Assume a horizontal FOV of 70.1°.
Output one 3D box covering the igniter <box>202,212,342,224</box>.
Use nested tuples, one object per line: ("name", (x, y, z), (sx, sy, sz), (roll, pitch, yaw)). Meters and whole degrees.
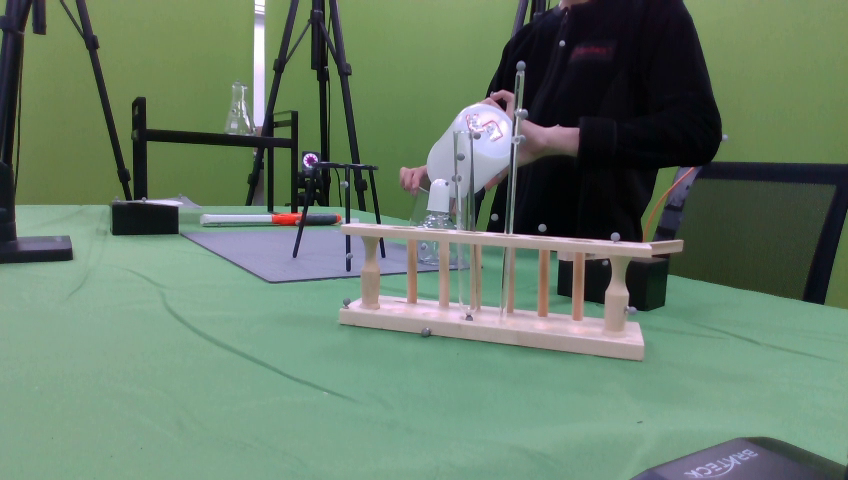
("igniter", (-0.298, -0.044, 1.216), (0.278, 0.025, 0.057), (-2, -2, -32))

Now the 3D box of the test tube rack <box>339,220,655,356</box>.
("test tube rack", (0.056, 0.032, 0.495), (0.242, 0.085, 0.067), (4, 7, 15))

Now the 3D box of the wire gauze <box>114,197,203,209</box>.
("wire gauze", (-0.447, -0.062, 1.015), (0.126, 0.011, 0.121), (-2, 8, -31))

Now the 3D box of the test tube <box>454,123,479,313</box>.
("test tube", (0.034, -0.016, 0.477), (0.017, 0.150, 0.017), (-2, 9, 1))

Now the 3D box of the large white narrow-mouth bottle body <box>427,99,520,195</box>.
("large white narrow-mouth bottle body", (0.061, -0.125, 0.923), (0.102, 0.101, 0.194), (-1, -18, -22))

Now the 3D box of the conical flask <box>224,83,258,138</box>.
("conical flask", (-0.422, -0.299, 1.395), (0.075, 0.122, 0.075), (2, 7, 0))

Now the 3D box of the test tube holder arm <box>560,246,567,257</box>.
("test tube holder arm", (0.173, 0.007, 0.611), (0.088, 0.015, 0.010), (-3, 9, -30))

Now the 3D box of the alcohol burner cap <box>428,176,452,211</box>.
("alcohol burner cap", (0.023, -0.064, 0.822), (0.034, 0.048, 0.034), (7, 4, 0))

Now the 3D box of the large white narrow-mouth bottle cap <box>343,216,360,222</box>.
("large white narrow-mouth bottle cap", (-0.148, -0.036, 1.235), (0.038, 0.024, 0.037), (2, 8, 0))

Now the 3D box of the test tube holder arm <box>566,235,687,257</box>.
("test tube holder arm", (0.215, 0.006, 0.630), (0.179, 0.015, 0.013), (-3, 9, -31))

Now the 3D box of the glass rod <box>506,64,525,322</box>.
("glass rod", (0.069, -0.030, 0.458), (0.008, 0.199, 0.008), (0, 15, 0))

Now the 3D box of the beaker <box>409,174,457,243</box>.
("beaker", (0.015, -0.051, 1.037), (0.074, 0.100, 0.084), (7, 26, -9))

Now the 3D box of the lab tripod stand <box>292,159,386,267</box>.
("lab tripod stand", (-0.105, -0.039, 0.798), (0.148, 0.131, 0.148), (2, 5, 0))

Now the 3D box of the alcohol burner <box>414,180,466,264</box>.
("alcohol burner", (0.021, -0.028, 0.826), (0.078, 0.119, 0.078), (0, 6, 0))
